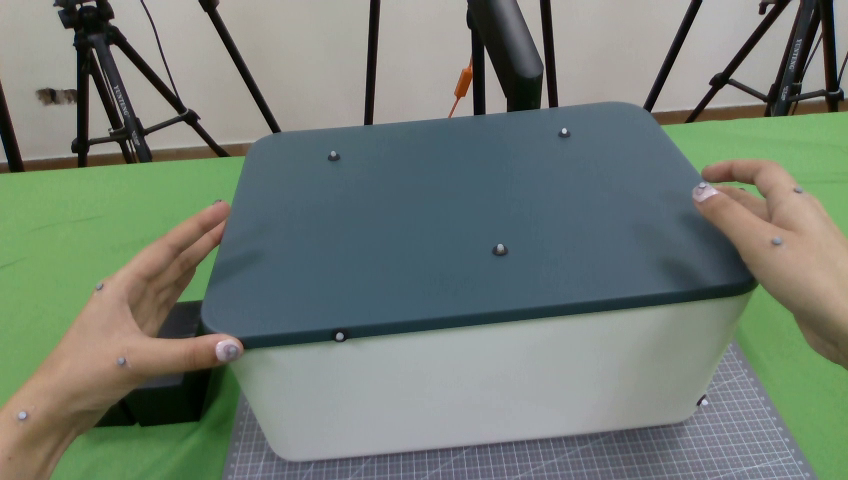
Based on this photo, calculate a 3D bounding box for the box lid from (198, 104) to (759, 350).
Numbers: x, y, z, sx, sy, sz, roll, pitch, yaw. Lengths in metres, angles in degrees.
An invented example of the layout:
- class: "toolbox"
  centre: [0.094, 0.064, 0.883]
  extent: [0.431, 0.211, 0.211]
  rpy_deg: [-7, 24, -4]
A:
- class: "box lid"
  centre: [0.028, -0.030, 0.475]
  extent: [0.372, 0.015, 0.260]
  rpy_deg: [-6, 38, -2]

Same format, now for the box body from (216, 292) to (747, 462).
- class: "box body"
  centre: [0.036, 0.033, 0.524]
  extent: [0.364, 0.162, 0.251]
  rpy_deg: [-5, 39, -2]
